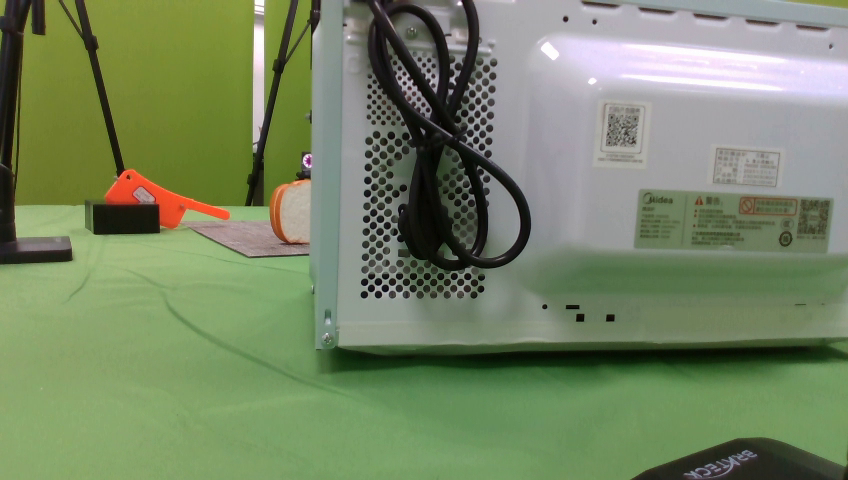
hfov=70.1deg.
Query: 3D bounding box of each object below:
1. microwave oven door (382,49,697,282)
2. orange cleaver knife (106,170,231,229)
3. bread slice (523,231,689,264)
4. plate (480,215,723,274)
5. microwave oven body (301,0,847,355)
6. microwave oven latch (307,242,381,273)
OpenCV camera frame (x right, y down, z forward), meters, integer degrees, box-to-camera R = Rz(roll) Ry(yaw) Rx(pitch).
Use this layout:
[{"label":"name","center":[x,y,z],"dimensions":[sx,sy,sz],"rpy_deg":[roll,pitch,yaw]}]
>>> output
[{"label":"microwave oven door","center":[0.135,-0.077,0.685],"dimensions":[0.357,0.243,0.039],"rpy_deg":[1,8,-12]},{"label":"orange cleaver knife","center":[-0.458,-0.060,1.097],"dimensions":[0.212,0.077,0.012],"rpy_deg":[23,-4,-38]},{"label":"bread slice","center":[0.174,0.006,0.565],"dimensions":[0.134,0.018,0.107],"rpy_deg":[-5,3,29]},{"label":"plate","center":[0.154,0.001,0.545],"dimensions":[0.208,0.039,0.207],"rpy_deg":[-1,6,0]},{"label":"microwave oven body","center":[0.120,-0.053,0.535],"dimensions":[0.443,0.260,0.325],"rpy_deg":[2,7,-11]},{"label":"microwave oven latch","center":[-0.086,0.019,0.656],"dimensions":[0.079,0.029,0.030],"rpy_deg":[2,7,-10]}]
